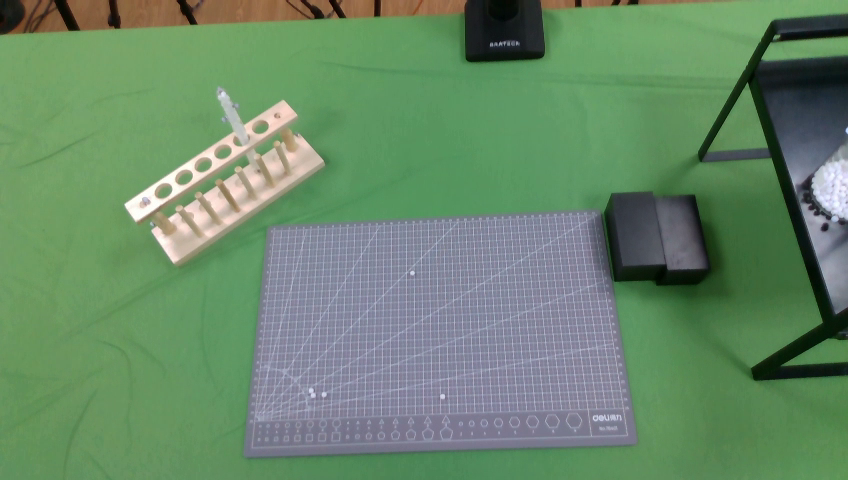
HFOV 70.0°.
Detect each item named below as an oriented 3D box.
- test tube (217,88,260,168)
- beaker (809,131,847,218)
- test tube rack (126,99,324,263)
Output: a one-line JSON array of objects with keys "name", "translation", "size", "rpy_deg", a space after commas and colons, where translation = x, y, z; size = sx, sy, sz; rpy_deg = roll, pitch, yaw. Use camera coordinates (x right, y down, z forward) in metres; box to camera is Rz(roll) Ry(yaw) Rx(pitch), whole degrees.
[{"name": "test tube", "translation": [-0.237, -0.140, 0.785], "size": [0.017, 0.151, 0.017], "rpy_deg": [-1, 61, 2]}, {"name": "beaker", "translation": [0.410, -0.072, 0.554], "size": [0.074, 0.101, 0.083], "rpy_deg": [-6, 64, 1]}, {"name": "test tube rack", "translation": [-0.259, -0.079, 0.813], "size": [0.242, 0.086, 0.066], "rpy_deg": [-37, 68, -13]}]
